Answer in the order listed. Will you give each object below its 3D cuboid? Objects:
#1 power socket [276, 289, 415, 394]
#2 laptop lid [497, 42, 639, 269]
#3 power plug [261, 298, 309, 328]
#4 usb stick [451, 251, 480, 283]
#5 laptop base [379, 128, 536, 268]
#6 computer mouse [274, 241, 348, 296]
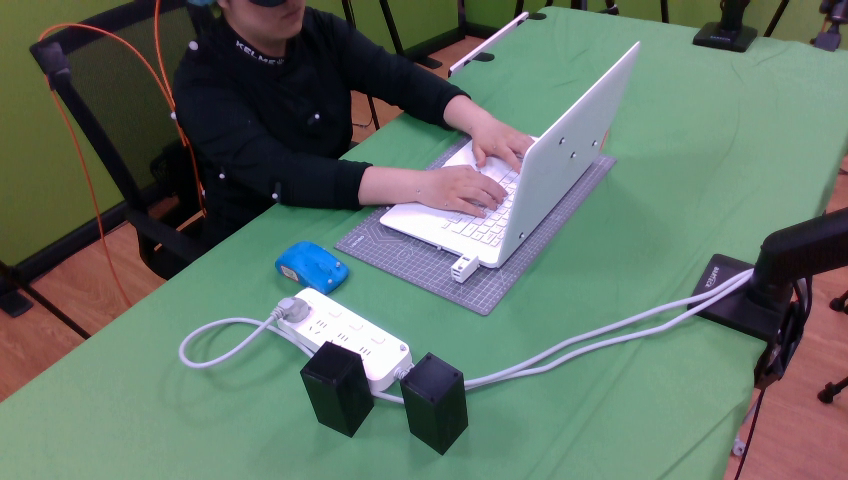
[{"bbox_3d":[-0.113,0.133,0.821,0.225,0.033,0.072,25,49,33],"label":"power socket"},{"bbox_3d":[0.221,-0.130,0.913,0.013,0.242,0.357,31,51,21],"label":"laptop lid"},{"bbox_3d":[-0.192,0.107,0.831,0.073,0.053,0.035,-33,43,-26],"label":"power plug"},{"bbox_3d":[0.066,0.036,0.899,0.021,0.027,0.059,23,46,32],"label":"usb stick"},{"bbox_3d":[0.118,-0.088,1.058,0.233,0.023,0.355,19,46,33],"label":"laptop base"},{"bbox_3d":[-0.175,0.040,0.936,0.116,0.041,0.063,27,48,27],"label":"computer mouse"}]
